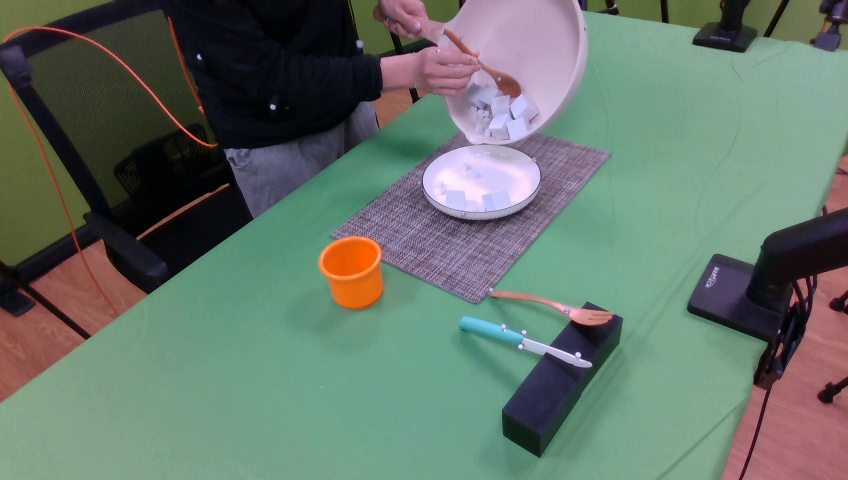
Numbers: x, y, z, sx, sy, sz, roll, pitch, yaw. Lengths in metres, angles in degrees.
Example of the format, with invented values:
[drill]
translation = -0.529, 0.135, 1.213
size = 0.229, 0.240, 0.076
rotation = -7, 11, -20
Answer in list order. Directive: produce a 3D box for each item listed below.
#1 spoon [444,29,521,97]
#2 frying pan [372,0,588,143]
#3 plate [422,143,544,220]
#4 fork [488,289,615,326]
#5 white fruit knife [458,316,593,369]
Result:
[spoon]
translation = 0.100, -0.295, 1.014
size = 0.041, 0.195, 0.021
rotation = 0, 73, 46
[frying pan]
translation = 0.080, -0.356, 1.092
size = 0.484, 0.306, 0.103
rotation = 32, 20, 30
[plate]
translation = 0.102, -0.097, 1.048
size = 0.207, 0.039, 0.206
rotation = -4, 40, 4
[fork]
translation = 0.160, 0.086, 0.800
size = 0.205, 0.019, 0.028
rotation = 12, 48, 48
[white fruit knife]
translation = 0.120, 0.127, 0.757
size = 0.205, 0.027, 0.016
rotation = 12, 44, 43
